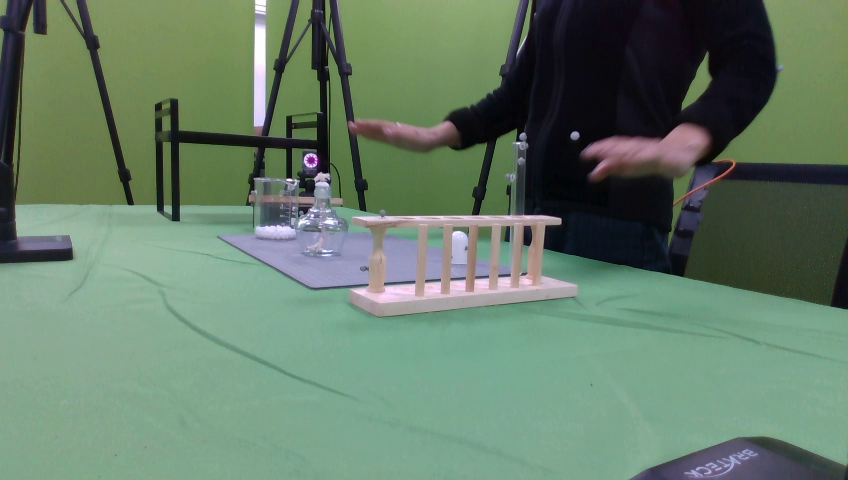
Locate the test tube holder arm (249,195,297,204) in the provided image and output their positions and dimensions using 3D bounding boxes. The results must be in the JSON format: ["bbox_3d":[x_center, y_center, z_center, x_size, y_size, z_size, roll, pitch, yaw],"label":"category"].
[{"bbox_3d":[-0.284,-0.076,1.141,0.088,0.015,0.010,0,9,-29],"label":"test tube holder arm"}]

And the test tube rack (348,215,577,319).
[{"bbox_3d":[0.048,0.021,0.619,0.244,0.085,0.066,-2,9,-31],"label":"test tube rack"}]

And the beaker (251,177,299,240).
[{"bbox_3d":[-0.245,-0.052,1.004,0.083,0.100,0.074,9,10,36],"label":"beaker"}]

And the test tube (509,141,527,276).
[{"bbox_3d":[0.102,-0.032,0.662,0.017,0.150,0.017,0,10,0],"label":"test tube"}]

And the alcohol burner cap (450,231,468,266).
[{"bbox_3d":[0.046,0.011,0.838,0.034,0.048,0.034,2,6,0],"label":"alcohol burner cap"}]

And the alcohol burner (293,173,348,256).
[{"bbox_3d":[-0.146,-0.036,0.859,0.078,0.119,0.078,4,8,0],"label":"alcohol burner"}]

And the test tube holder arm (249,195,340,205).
[{"bbox_3d":[-0.247,-0.077,1.169,0.179,0.015,0.013,0,9,-31],"label":"test tube holder arm"}]
